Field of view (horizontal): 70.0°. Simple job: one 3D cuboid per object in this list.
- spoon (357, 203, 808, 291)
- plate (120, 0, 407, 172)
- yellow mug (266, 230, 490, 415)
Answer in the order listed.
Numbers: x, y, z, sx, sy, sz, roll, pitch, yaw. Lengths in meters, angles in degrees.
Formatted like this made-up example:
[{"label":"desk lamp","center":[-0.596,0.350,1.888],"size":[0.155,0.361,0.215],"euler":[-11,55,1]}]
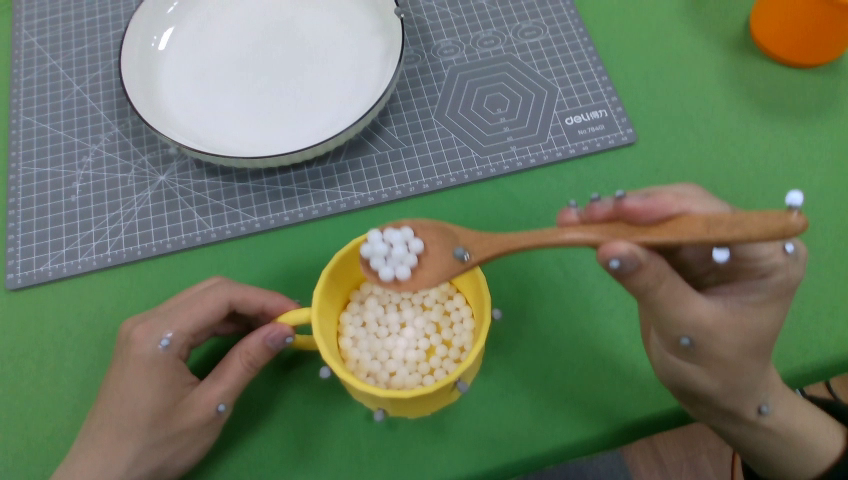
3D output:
[{"label":"spoon","center":[0.054,-0.001,0.264],"size":[0.193,0.022,0.041],"euler":[-6,63,31]},{"label":"plate","center":[-0.115,-0.137,0.456],"size":[0.208,0.039,0.206],"euler":[0,66,1]},{"label":"yellow mug","center":[-0.028,0.050,0.359],"size":[0.131,0.064,0.099],"euler":[-5,65,0]}]
